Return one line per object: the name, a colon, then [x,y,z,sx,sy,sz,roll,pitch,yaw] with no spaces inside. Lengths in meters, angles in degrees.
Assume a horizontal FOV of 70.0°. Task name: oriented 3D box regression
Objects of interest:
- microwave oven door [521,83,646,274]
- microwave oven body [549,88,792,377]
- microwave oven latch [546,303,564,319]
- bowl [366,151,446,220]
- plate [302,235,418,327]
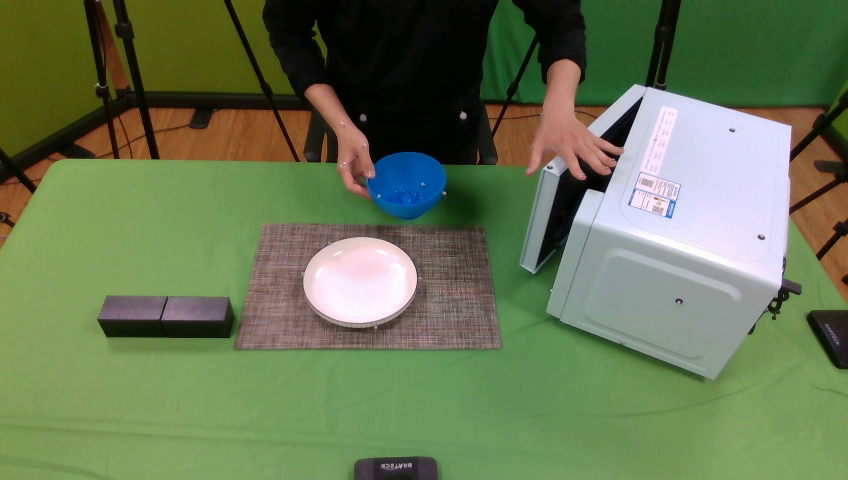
microwave oven door: [0.311,-0.123,1.161,0.039,0.245,0.355,31,52,25]
microwave oven body: [0.456,-0.028,1.088,0.325,0.261,0.440,20,47,16]
microwave oven latch: [0.242,0.102,1.081,0.030,0.029,0.079,21,48,17]
bowl: [-0.032,-0.091,1.154,0.151,0.077,0.150,-1,48,2]
plate: [-0.114,0.077,1.098,0.208,0.039,0.206,2,46,-2]
